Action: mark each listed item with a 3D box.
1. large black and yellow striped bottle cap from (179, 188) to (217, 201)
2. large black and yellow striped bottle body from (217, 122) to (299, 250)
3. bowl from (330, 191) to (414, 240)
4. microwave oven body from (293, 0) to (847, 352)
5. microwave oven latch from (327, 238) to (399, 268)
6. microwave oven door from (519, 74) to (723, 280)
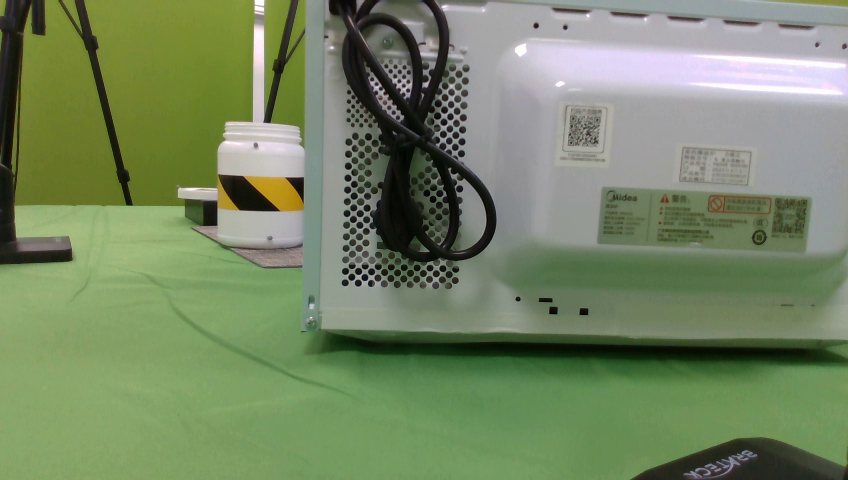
[{"bbox_3d":[-0.434,-0.093,1.226,0.115,0.019,0.115,3,9,0],"label":"large black and yellow striped bottle cap"},{"bbox_3d":[-0.250,-0.084,0.931,0.131,0.184,0.130,2,7,0],"label":"large black and yellow striped bottle body"},{"bbox_3d":[-0.095,-0.044,1.096,0.151,0.077,0.151,3,8,0],"label":"bowl"},{"bbox_3d":[0.122,-0.055,0.550,0.442,0.260,0.325,3,7,-5],"label":"microwave oven body"},{"bbox_3d":[-0.069,0.015,0.694,0.079,0.029,0.030,3,7,-3],"label":"microwave oven latch"},{"bbox_3d":[0.255,-0.094,0.862,0.039,0.243,0.354,-1,8,-25],"label":"microwave oven door"}]
